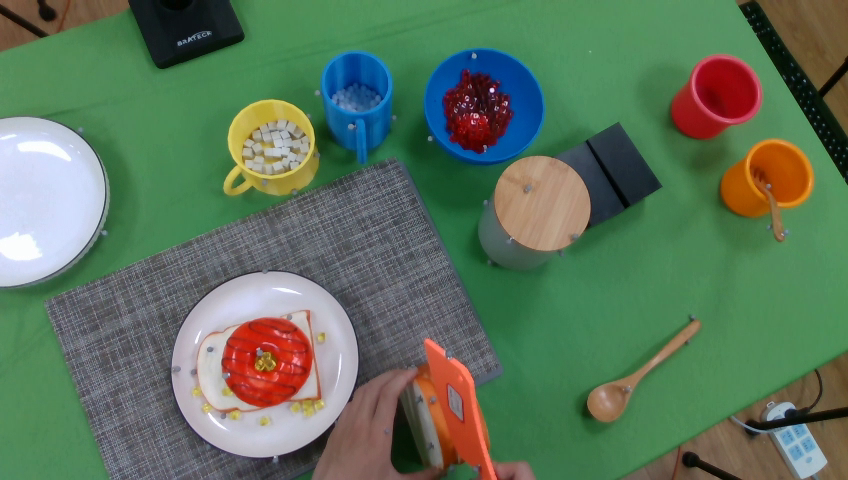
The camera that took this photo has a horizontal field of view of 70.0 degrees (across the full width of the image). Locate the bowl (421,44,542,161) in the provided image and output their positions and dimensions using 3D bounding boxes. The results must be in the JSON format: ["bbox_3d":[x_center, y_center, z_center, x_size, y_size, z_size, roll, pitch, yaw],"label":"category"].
[{"bbox_3d":[0.067,-0.162,0.770,0.151,0.077,0.150,1,77,-5],"label":"bowl"}]

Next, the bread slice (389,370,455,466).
[{"bbox_3d":[-0.002,0.188,0.656,0.018,0.134,0.106,-18,79,-18],"label":"bread slice"}]

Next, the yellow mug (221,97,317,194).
[{"bbox_3d":[-0.195,-0.104,0.736,0.100,0.064,0.130,43,78,6],"label":"yellow mug"}]

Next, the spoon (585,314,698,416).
[{"bbox_3d":[0.274,0.150,0.749,0.194,0.022,0.041,-36,65,-12],"label":"spoon"}]

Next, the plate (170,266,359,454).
[{"bbox_3d":[-0.178,0.135,0.694,0.209,0.038,0.208,1,77,-5],"label":"plate"}]

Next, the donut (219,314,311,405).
[{"bbox_3d":[-0.174,0.131,0.667,0.099,0.048,0.098,2,78,-9],"label":"donut"}]

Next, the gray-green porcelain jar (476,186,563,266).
[{"bbox_3d":[0.120,-0.028,0.721,0.106,0.127,0.105,1,77,-6],"label":"gray-green porcelain jar"}]

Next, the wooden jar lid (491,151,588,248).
[{"bbox_3d":[0.125,-0.043,0.660,0.108,0.021,0.108,2,78,-8],"label":"wooden jar lid"}]

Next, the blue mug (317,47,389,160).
[{"bbox_3d":[-0.083,-0.156,0.740,0.082,0.106,0.116,-4,78,-6],"label":"blue mug"}]

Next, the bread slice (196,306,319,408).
[{"bbox_3d":[-0.192,0.139,0.696,0.132,0.019,0.104,-11,77,-12],"label":"bread slice"}]

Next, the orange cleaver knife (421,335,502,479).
[{"bbox_3d":[0.043,0.183,0.552,0.012,0.076,0.212,-27,109,-27],"label":"orange cleaver knife"}]

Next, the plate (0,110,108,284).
[{"bbox_3d":[-0.475,-0.049,0.710,0.208,0.039,0.206,1,77,-6],"label":"plate"}]

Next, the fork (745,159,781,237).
[{"bbox_3d":[0.418,-0.055,0.745,0.028,0.019,0.206,38,32,-3],"label":"fork"}]
